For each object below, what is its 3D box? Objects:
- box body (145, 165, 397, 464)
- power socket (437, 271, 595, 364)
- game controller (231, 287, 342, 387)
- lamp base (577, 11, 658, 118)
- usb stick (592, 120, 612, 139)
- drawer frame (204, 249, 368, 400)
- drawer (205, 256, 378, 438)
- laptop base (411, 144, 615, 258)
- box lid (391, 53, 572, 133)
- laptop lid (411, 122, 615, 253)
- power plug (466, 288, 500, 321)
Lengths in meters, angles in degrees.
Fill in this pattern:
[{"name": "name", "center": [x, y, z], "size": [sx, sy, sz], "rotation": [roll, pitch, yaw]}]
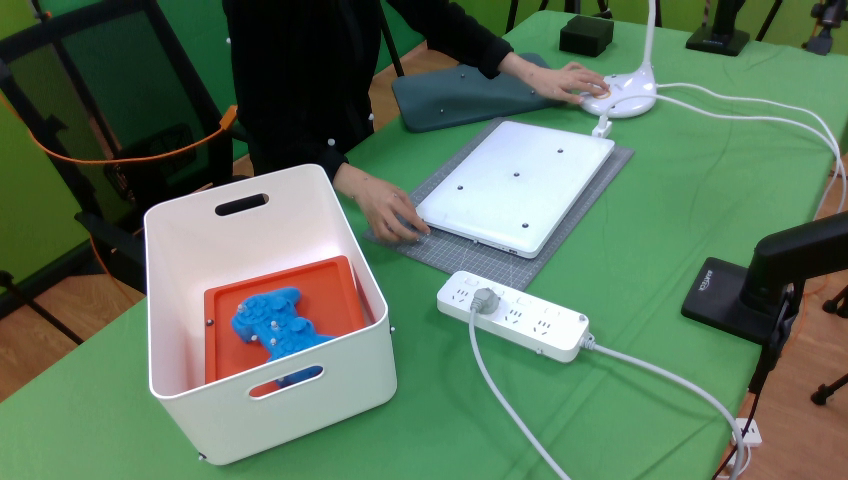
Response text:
[{"name": "box body", "center": [-0.205, 0.080, 0.802], "size": [0.255, 0.161, 0.361], "rotation": [-18, 41, -13]}, {"name": "power socket", "center": [0.118, 0.102, 0.830], "size": [0.225, 0.033, 0.072], "rotation": [20, 49, 28]}, {"name": "game controller", "center": [-0.167, 0.110, 0.734], "size": [0.097, 0.052, 0.154], "rotation": [-35, 47, -22]}, {"name": "lamp base", "center": [0.406, -0.363, 1.223], "size": [0.180, 0.181, 0.159], "rotation": [-20, 42, -18]}, {"name": "usb stick", "center": [0.335, -0.203, 1.149], "size": [0.021, 0.027, 0.059], "rotation": [25, 53, 26]}, {"name": "drawer frame", "center": [-0.174, 0.129, 0.791], "size": [0.202, 0.083, 0.212], "rotation": [-16, 45, -8]}, {"name": "drawer", "center": [-0.177, 0.130, 0.787], "size": [0.195, 0.073, 0.210], "rotation": [-14, 39, -9]}, {"name": "laptop base", "center": [0.167, -0.102, 1.074], "size": [0.234, 0.023, 0.355], "rotation": [16, 45, 30]}, {"name": "box lid", "center": [0.123, -0.339, 1.366], "size": [0.372, 0.015, 0.261], "rotation": [-12, 40, -5]}, {"name": "laptop lid", "center": [0.164, -0.112, 1.068], "size": [0.240, 0.013, 0.357], "rotation": [19, 46, 30]}, {"name": "power plug", "center": [0.072, 0.093, 0.813], "size": [0.073, 0.053, 0.035], "rotation": [-36, 49, -28]}]
